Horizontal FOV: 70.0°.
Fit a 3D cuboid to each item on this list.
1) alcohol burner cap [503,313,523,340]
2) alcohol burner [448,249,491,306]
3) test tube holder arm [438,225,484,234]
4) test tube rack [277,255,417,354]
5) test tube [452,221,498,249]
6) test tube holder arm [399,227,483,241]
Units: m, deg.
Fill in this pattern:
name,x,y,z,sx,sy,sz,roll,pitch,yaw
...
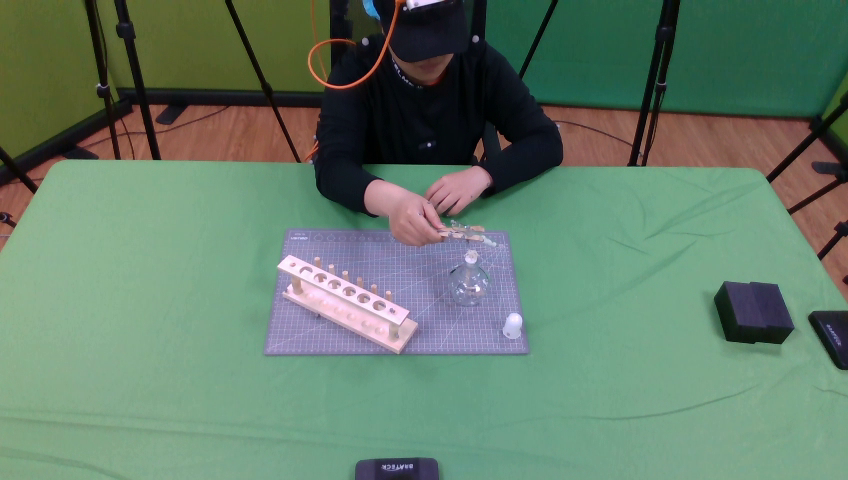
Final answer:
name,x,y,z,sx,sy,sz,roll,pitch,yaw
alcohol burner cap,0.156,0.148,1.051,0.034,0.048,0.033,1,46,-1
alcohol burner,0.081,0.062,1.078,0.078,0.120,0.077,1,45,-1
test tube holder arm,0.060,-0.015,1.003,0.087,0.015,0.010,-4,71,39
test tube rack,-0.131,0.099,1.045,0.241,0.085,0.066,23,49,17
test tube,0.087,-0.007,1.003,0.017,0.151,0.017,-8,73,30
test tube holder arm,0.025,-0.011,1.030,0.178,0.015,0.013,5,77,41
